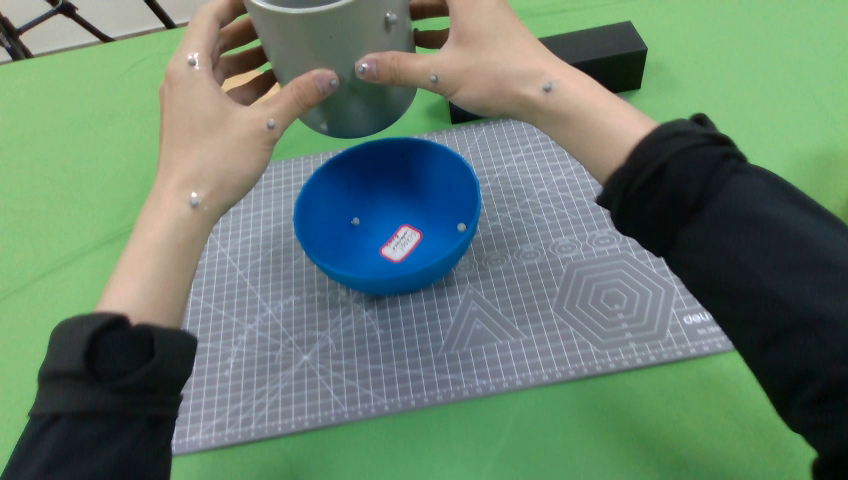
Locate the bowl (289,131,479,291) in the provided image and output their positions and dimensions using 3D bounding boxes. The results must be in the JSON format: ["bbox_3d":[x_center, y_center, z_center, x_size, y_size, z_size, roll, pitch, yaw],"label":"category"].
[{"bbox_3d":[-0.027,-0.011,0.504,0.151,0.077,0.150,-4,52,6],"label":"bowl"}]

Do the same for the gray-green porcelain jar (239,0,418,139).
[{"bbox_3d":[-0.061,-0.143,0.426,0.106,0.127,0.105,-3,60,6],"label":"gray-green porcelain jar"}]

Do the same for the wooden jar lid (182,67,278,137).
[{"bbox_3d":[-0.216,-0.155,0.684,0.108,0.021,0.107,-3,52,4],"label":"wooden jar lid"}]
